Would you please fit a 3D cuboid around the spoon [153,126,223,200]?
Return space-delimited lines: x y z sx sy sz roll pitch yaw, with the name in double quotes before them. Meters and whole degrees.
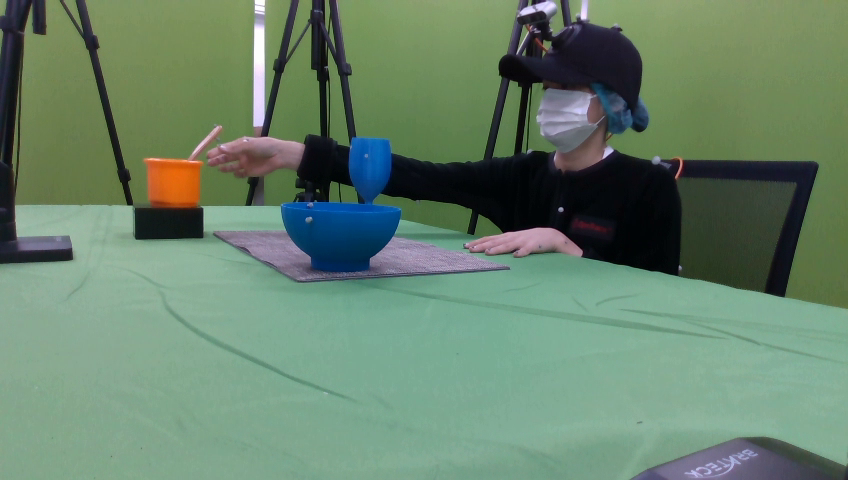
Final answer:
"spoon" -0.394 -0.134 1.026 0.041 0.193 0.022 10 -35 19

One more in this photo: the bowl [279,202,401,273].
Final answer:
"bowl" -0.105 -0.003 0.756 0.151 0.077 0.151 3 7 0

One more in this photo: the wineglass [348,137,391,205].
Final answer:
"wineglass" -0.092 -0.081 0.997 0.074 0.172 0.073 3 7 0
